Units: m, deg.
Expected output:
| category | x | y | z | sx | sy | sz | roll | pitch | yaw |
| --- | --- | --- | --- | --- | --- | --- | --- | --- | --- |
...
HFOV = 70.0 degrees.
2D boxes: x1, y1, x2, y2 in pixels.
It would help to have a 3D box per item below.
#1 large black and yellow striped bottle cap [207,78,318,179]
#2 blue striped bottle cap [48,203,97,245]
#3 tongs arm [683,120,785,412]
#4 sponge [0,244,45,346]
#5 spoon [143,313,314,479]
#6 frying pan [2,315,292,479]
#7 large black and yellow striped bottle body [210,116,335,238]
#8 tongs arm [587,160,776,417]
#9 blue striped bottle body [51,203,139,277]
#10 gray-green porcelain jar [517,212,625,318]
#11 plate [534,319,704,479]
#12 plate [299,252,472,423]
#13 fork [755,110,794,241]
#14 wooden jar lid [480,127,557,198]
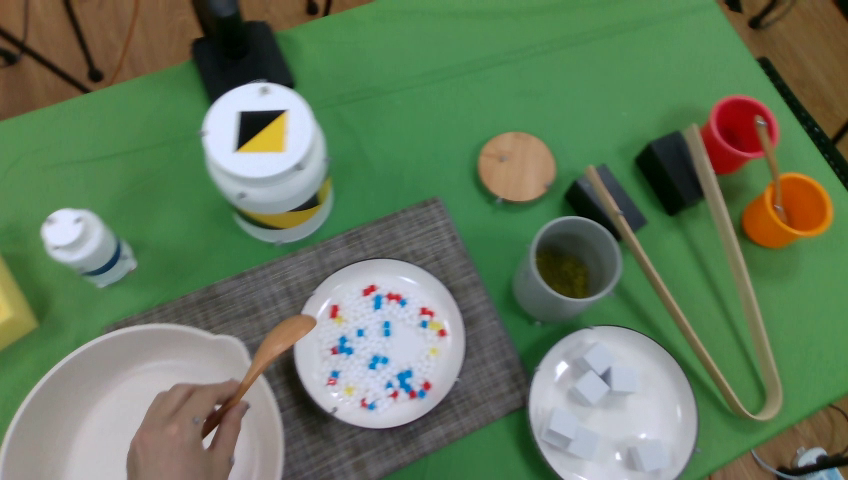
| category | x | y | z | sx | sy | sz | roll | pitch | yaw |
| --- | --- | --- | --- | --- | --- | --- | --- | --- | --- |
| large black and yellow striped bottle cap | -0.172 | -0.121 | 0.651 | 0.115 | 0.019 | 0.114 | 2 | 73 | -5 |
| blue striped bottle cap | -0.386 | -0.018 | 0.665 | 0.044 | 0.021 | 0.044 | 1 | 69 | -2 |
| tongs arm | 0.401 | 0.028 | 0.788 | 0.028 | 0.028 | 0.386 | -12 | 83 | -17 |
| sponge | -0.573 | 0.097 | 0.696 | 0.207 | 0.061 | 0.117 | -36 | 78 | -16 |
| spoon | -0.168 | 0.136 | 0.526 | 0.193 | 0.022 | 0.041 | -50 | 41 | -12 |
| frying pan | -0.204 | 0.284 | 0.639 | 0.485 | 0.103 | 0.306 | 32 | 72 | 15 |
| large black and yellow striped bottle body | -0.178 | -0.091 | 0.729 | 0.131 | 0.185 | 0.130 | 2 | 70 | -4 |
| tongs arm | 0.324 | 0.059 | 0.770 | 0.051 | 0.026 | 0.384 | -27 | 86 | -15 |
| blue striped bottle body | -0.389 | -0.002 | 0.714 | 0.063 | 0.121 | 0.062 | 2 | 71 | -4 |
| gray-green porcelain jar | 0.174 | 0.037 | 0.746 | 0.106 | 0.127 | 0.105 | 2 | 71 | -4 |
| plate | 0.235 | 0.202 | 0.743 | 0.208 | 0.039 | 0.206 | 2 | 71 | -4 |
| plate | -0.047 | 0.118 | 0.743 | 0.209 | 0.038 | 0.208 | 1 | 72 | -4 |
| fork | 0.462 | -0.081 | 0.798 | 0.028 | 0.018 | 0.209 | -36 | 122 | -7 |
| wooden jar lid | 0.132 | -0.106 | 0.847 | 0.108 | 0.021 | 0.107 | 2 | 73 | -5 |
